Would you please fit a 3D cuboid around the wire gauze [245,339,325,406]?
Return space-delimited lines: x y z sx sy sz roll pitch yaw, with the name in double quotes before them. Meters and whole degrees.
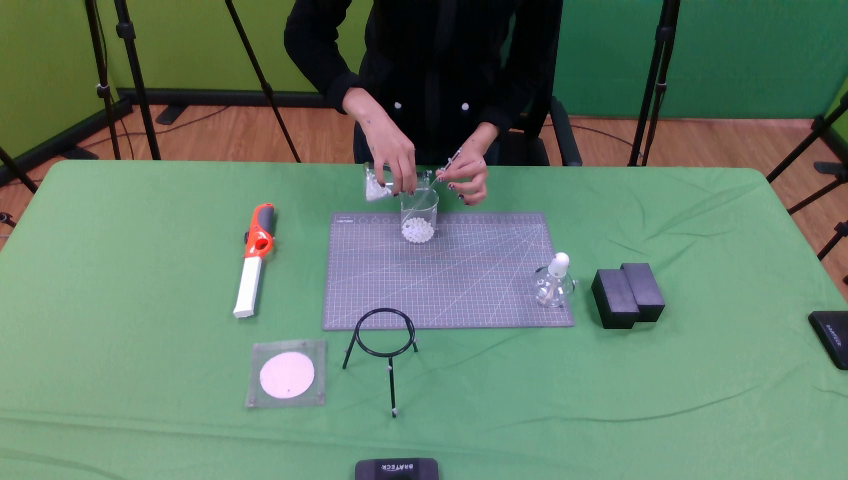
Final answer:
"wire gauze" -0.224 0.214 0.984 0.125 0.011 0.120 -2 46 -5

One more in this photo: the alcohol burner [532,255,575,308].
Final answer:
"alcohol burner" 0.235 0.066 1.087 0.078 0.119 0.077 4 45 -3

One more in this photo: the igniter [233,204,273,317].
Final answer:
"igniter" -0.321 0.029 1.142 0.057 0.025 0.274 -8 46 4

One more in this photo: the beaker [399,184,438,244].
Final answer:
"beaker" -0.015 -0.046 1.186 0.073 0.101 0.084 36 54 27

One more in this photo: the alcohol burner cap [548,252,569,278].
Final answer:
"alcohol burner cap" 0.238 0.042 1.060 0.034 0.048 0.033 1 53 -1

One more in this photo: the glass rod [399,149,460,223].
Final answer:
"glass rod" 0.007 -0.099 1.143 0.008 0.200 0.008 28 34 -21

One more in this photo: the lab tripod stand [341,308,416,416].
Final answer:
"lab tripod stand" -0.061 0.177 0.946 0.148 0.132 0.147 2 44 -2

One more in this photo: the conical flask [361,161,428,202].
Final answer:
"conical flask" -0.054 -0.108 1.121 0.122 0.075 0.075 -2 46 -8
